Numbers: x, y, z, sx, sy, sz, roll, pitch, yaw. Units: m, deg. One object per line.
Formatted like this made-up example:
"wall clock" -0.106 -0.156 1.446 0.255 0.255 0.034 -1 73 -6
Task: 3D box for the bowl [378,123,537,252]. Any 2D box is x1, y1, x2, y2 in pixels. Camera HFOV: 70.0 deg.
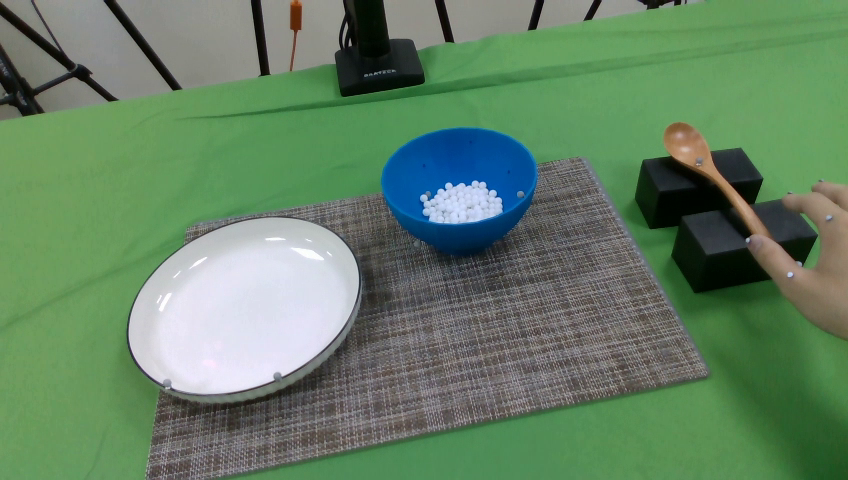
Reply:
"bowl" 0.035 -0.041 0.600 0.151 0.077 0.150 -3 45 4

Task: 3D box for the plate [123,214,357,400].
"plate" -0.162 0.059 0.556 0.207 0.039 0.205 -3 45 4

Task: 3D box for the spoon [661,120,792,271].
"spoon" 0.272 -0.047 0.552 0.041 0.022 0.191 -12 47 -5
